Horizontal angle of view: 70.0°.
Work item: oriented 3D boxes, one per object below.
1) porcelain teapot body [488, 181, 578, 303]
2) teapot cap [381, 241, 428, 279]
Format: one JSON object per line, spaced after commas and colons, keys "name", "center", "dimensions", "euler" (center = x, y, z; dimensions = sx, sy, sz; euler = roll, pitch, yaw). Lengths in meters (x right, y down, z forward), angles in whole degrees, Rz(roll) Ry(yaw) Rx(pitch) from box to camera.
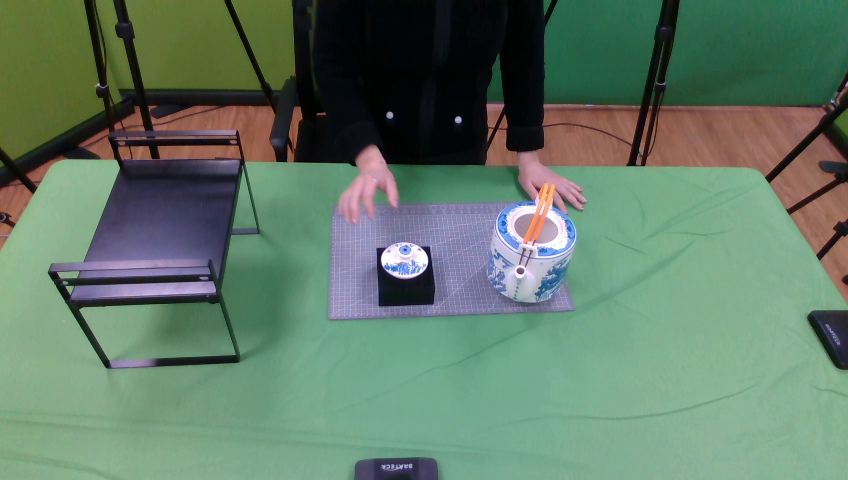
{"name": "porcelain teapot body", "center": [0.185, 0.018, 1.048], "dimensions": [0.145, 0.226, 0.204], "euler": [15, 48, 10]}
{"name": "teapot cap", "center": [-0.034, 0.031, 1.076], "dimensions": [0.085, 0.044, 0.084], "euler": [2, 49, -3]}
